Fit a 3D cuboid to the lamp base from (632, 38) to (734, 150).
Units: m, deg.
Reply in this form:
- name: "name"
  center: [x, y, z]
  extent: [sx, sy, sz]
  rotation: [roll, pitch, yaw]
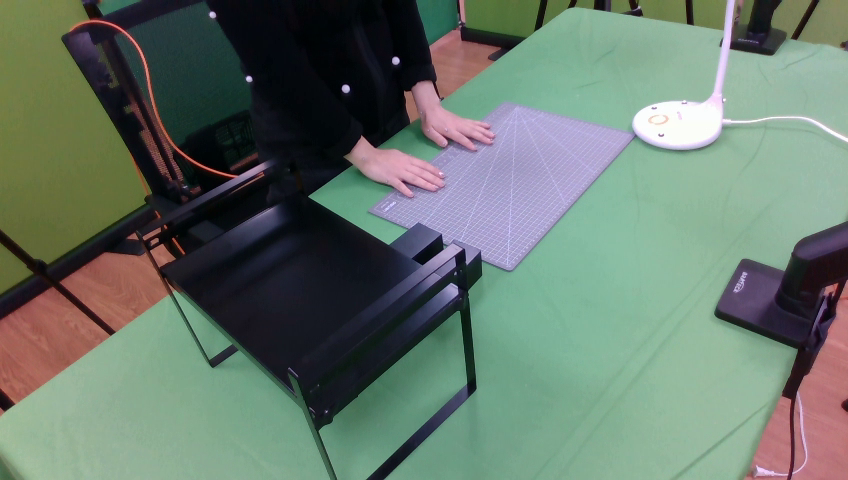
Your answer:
- name: "lamp base"
  center: [0.486, -0.280, 1.108]
  extent: [0.179, 0.181, 0.159]
  rotation: [-5, 41, -1]
